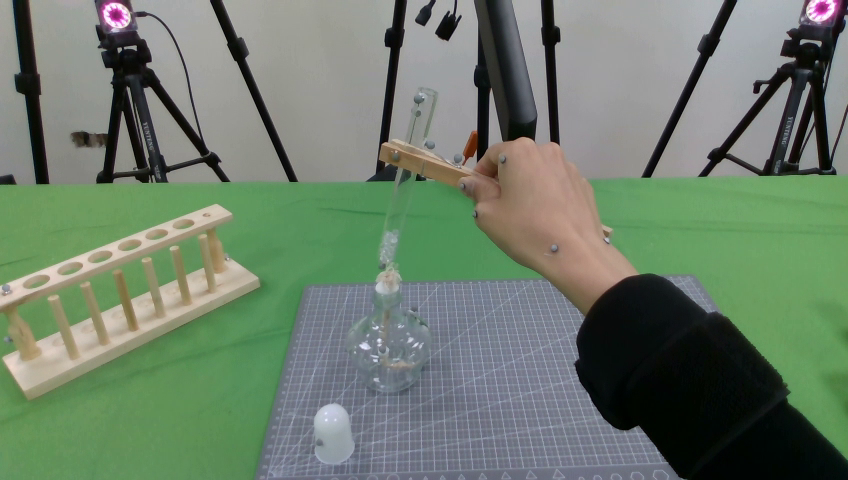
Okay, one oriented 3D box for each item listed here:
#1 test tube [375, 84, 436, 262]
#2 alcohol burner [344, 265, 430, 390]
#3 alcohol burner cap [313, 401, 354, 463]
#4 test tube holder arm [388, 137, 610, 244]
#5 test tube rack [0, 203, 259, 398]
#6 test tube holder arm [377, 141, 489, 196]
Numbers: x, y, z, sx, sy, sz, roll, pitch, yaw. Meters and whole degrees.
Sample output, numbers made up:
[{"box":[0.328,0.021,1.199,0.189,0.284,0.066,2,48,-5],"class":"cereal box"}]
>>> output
[{"box":[-0.016,-0.046,0.466,0.017,0.151,0.017,12,30,-7],"class":"test tube"},{"box":[-0.033,0.075,0.541,0.078,0.120,0.077,0,30,0],"class":"alcohol burner"},{"box":[-0.075,0.151,0.486,0.034,0.048,0.033,0,32,0],"class":"alcohol burner cap"},{"box":[0.049,-0.038,0.438,0.177,0.015,0.013,24,34,18],"class":"test tube holder arm"},{"box":[-0.297,0.051,0.617,0.066,0.086,0.242,27,41,37],"class":"test tube rack"},{"box":[0.007,-0.053,0.446,0.087,0.015,0.010,20,32,12],"class":"test tube holder arm"}]
